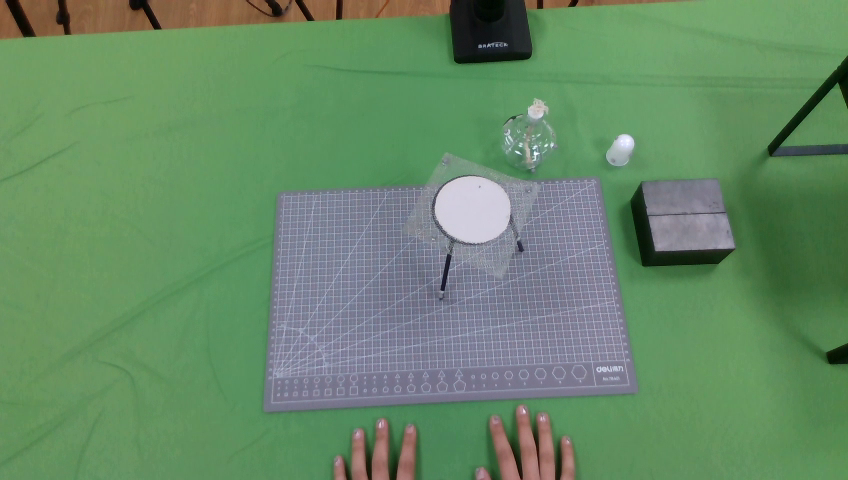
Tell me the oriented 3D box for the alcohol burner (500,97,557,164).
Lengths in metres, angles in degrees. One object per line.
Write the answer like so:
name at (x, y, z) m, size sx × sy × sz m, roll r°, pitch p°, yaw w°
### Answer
alcohol burner at (0.143, -0.154, 0.813) m, size 0.078 × 0.120 × 0.077 m, roll 0°, pitch 67°, yaw 0°

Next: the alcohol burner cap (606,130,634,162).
alcohol burner cap at (0.275, -0.133, 0.842) m, size 0.034 × 0.048 × 0.033 m, roll -1°, pitch 66°, yaw 2°

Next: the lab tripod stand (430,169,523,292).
lab tripod stand at (0.057, -0.018, 0.742) m, size 0.148 × 0.132 × 0.147 m, roll 0°, pitch 65°, yaw 0°

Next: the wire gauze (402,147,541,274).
wire gauze at (0.054, -0.039, 0.678) m, size 0.124 × 0.011 × 0.121 m, roll 24°, pitch 69°, yaw 10°
